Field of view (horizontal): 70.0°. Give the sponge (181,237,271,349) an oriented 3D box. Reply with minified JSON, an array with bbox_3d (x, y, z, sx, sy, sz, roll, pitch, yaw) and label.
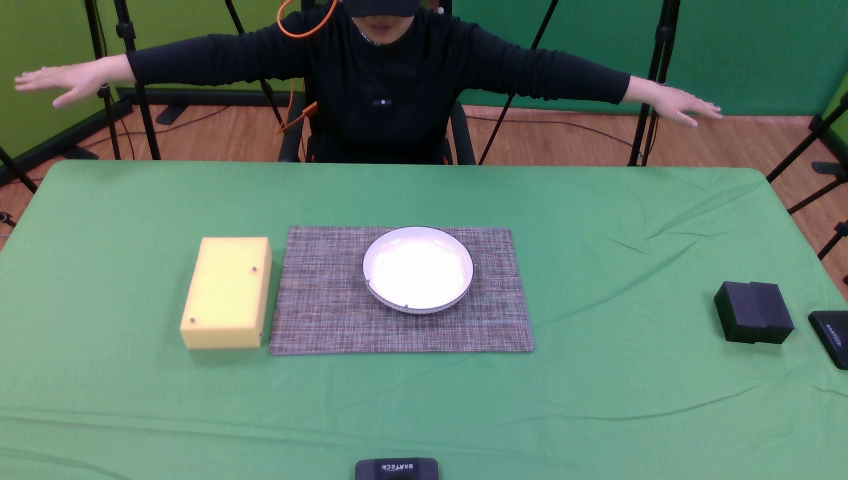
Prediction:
[{"bbox_3d":[-0.341,0.088,1.062,0.118,0.061,0.205,-2,47,-6],"label":"sponge"}]

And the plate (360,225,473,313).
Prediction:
[{"bbox_3d":[-0.014,0.057,1.126,0.208,0.039,0.206,2,46,-2],"label":"plate"}]
